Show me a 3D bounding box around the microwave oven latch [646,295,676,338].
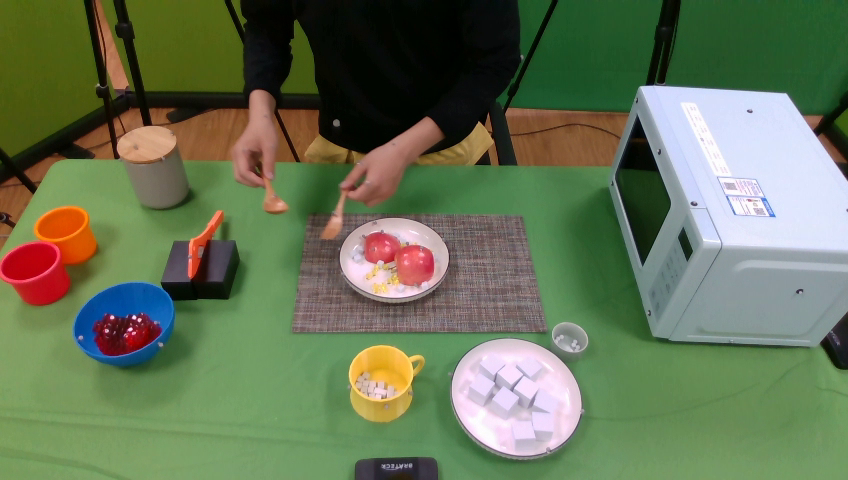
[{"bbox_3d":[0.413,0.133,1.061,0.030,0.029,0.078,4,46,1],"label":"microwave oven latch"}]

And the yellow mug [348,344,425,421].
[{"bbox_3d":[-0.054,0.217,0.954,0.131,0.064,0.099,-24,53,-25],"label":"yellow mug"}]

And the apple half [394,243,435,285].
[{"bbox_3d":[-0.017,0.037,1.120,0.075,0.053,0.080,1,46,-6],"label":"apple half"}]

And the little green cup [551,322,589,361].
[{"bbox_3d":[0.247,0.175,1.033,0.061,0.039,0.061,3,44,-3],"label":"little green cup"}]

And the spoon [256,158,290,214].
[{"bbox_3d":[-0.274,-0.099,1.070,0.042,0.022,0.192,-13,43,-17],"label":"spoon"}]

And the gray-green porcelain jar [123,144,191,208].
[{"bbox_3d":[-0.530,-0.137,1.213,0.106,0.127,0.105,2,46,-2],"label":"gray-green porcelain jar"}]

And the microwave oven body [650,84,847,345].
[{"bbox_3d":[0.569,-0.054,1.116,0.326,0.261,0.439,2,46,-1],"label":"microwave oven body"}]

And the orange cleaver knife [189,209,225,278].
[{"bbox_3d":[-0.400,0.002,1.122,0.012,0.077,0.210,4,23,-4],"label":"orange cleaver knife"}]

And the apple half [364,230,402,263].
[{"bbox_3d":[-0.079,0.004,1.159,0.081,0.033,0.081,2,49,-2],"label":"apple half"}]

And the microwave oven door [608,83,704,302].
[{"bbox_3d":[0.424,-0.096,1.138,0.039,0.245,0.353,2,47,-1],"label":"microwave oven door"}]

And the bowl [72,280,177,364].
[{"bbox_3d":[-0.472,0.147,0.982,0.151,0.077,0.150,2,46,-2],"label":"bowl"}]

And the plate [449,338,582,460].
[{"bbox_3d":[0.141,0.251,0.955,0.208,0.039,0.206,2,46,-2],"label":"plate"}]

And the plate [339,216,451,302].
[{"bbox_3d":[-0.054,0.038,1.138,0.209,0.038,0.208,2,46,-2],"label":"plate"}]

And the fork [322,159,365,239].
[{"bbox_3d":[-0.142,-0.078,1.100,0.028,0.019,0.206,-5,49,26],"label":"fork"}]

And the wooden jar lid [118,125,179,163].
[{"bbox_3d":[-0.528,-0.181,1.167,0.108,0.021,0.107,4,48,-4],"label":"wooden jar lid"}]
